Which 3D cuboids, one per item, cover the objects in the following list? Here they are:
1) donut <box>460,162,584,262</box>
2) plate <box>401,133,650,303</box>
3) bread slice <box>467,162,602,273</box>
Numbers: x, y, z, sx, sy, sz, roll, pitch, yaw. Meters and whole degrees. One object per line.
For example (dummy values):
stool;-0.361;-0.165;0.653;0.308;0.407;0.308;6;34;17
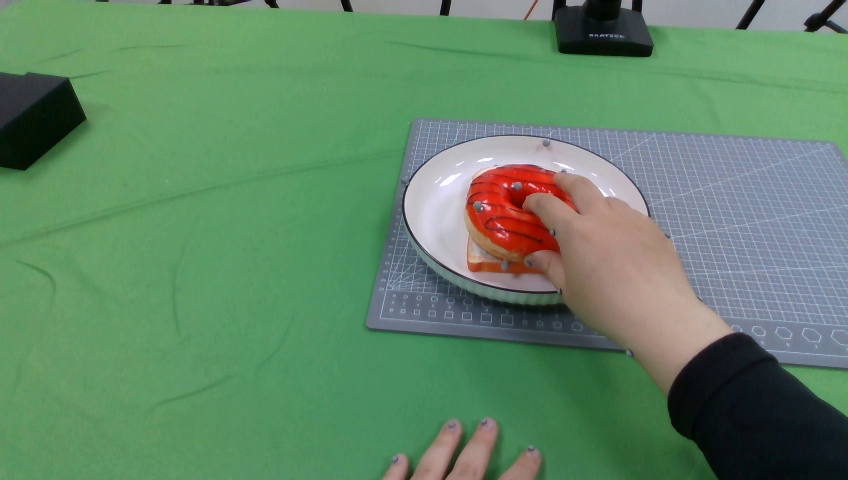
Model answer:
donut;0.078;-0.023;0.486;0.099;0.048;0.098;1;47;-1
plate;0.084;-0.020;0.524;0.209;0.038;0.207;1;43;0
bread slice;0.087;-0.022;0.528;0.107;0.018;0.133;0;44;-2
